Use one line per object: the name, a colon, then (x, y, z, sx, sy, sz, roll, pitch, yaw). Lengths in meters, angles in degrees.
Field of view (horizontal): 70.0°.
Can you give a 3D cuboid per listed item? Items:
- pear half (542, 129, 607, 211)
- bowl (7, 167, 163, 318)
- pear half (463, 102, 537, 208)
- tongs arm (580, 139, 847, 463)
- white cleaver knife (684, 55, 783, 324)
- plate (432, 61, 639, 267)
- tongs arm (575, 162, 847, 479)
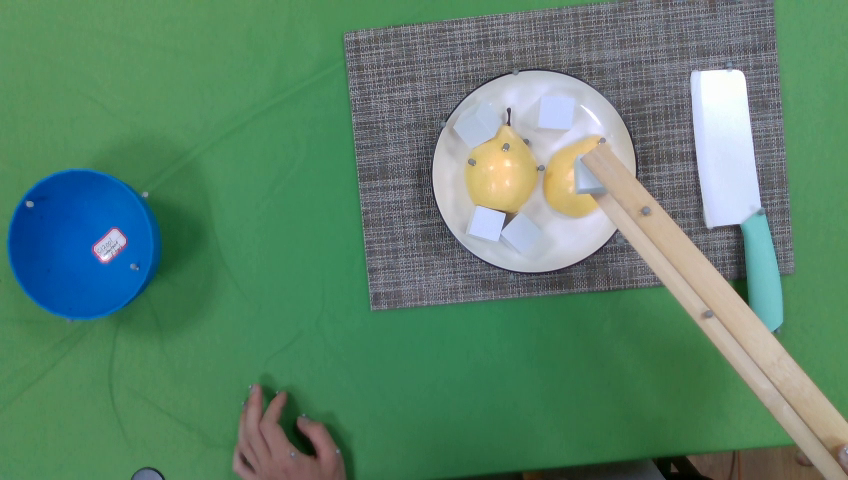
pear half: (0.161, -0.073, 0.619, 0.070, 0.031, 0.088, 25, 99, -2)
bowl: (-0.336, 0.002, 0.634, 0.151, 0.077, 0.151, 0, 92, 2)
pear half: (0.079, -0.089, 0.614, 0.076, 0.056, 0.109, 4, 88, -2)
tongs arm: (0.255, 0.072, 0.474, 0.028, 0.028, 0.386, -37, 79, -4)
white cleaver knife: (0.321, -0.049, 0.632, 0.066, 0.021, 0.286, -9, 88, 13)
plate: (0.112, -0.076, 0.627, 0.207, 0.039, 0.207, 0, 92, 3)
tongs arm: (0.258, 0.076, 0.500, 0.026, 0.051, 0.383, -37, 83, -1)
